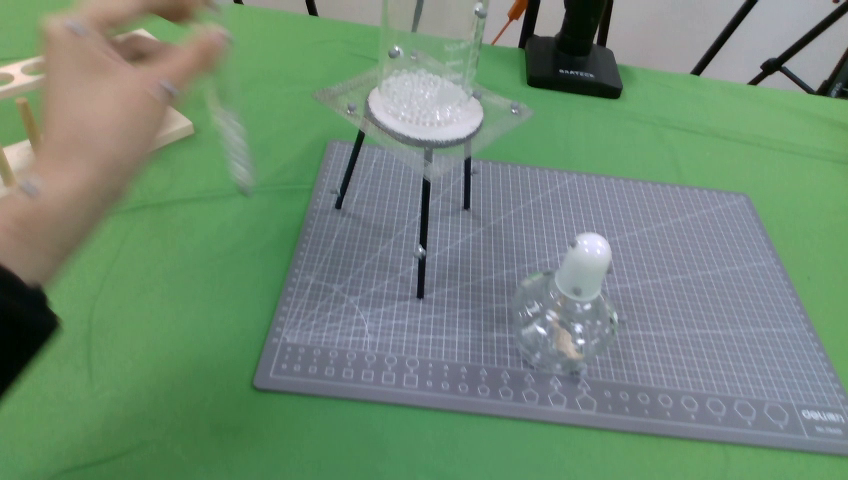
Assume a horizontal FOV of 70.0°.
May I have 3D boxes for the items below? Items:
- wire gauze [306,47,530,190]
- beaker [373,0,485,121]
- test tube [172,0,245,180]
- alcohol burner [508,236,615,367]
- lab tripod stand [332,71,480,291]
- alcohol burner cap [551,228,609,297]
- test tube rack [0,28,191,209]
[{"bbox_3d":[-0.003,-0.100,0.448,0.124,0.011,0.121,39,54,21],"label":"wire gauze"},{"bbox_3d":[0.000,-0.140,0.417,0.084,0.101,0.073,-27,56,-30],"label":"beaker"},{"bbox_3d":[-0.124,-0.100,0.343,0.017,0.151,0.017,-1,38,1],"label":"test tube"},{"bbox_3d":[0.103,0.038,0.434,0.078,0.120,0.077,6,44,-6],"label":"alcohol burner"},{"bbox_3d":[-0.008,-0.054,0.493,0.149,0.132,0.147,6,45,-6],"label":"lab tripod stand"},{"bbox_3d":[0.107,0.013,0.408,0.034,0.048,0.033,3,49,-3],"label":"alcohol burner cap"},{"bbox_3d":[-0.333,-0.099,0.521,0.066,0.086,0.242,36,50,24],"label":"test tube rack"}]
